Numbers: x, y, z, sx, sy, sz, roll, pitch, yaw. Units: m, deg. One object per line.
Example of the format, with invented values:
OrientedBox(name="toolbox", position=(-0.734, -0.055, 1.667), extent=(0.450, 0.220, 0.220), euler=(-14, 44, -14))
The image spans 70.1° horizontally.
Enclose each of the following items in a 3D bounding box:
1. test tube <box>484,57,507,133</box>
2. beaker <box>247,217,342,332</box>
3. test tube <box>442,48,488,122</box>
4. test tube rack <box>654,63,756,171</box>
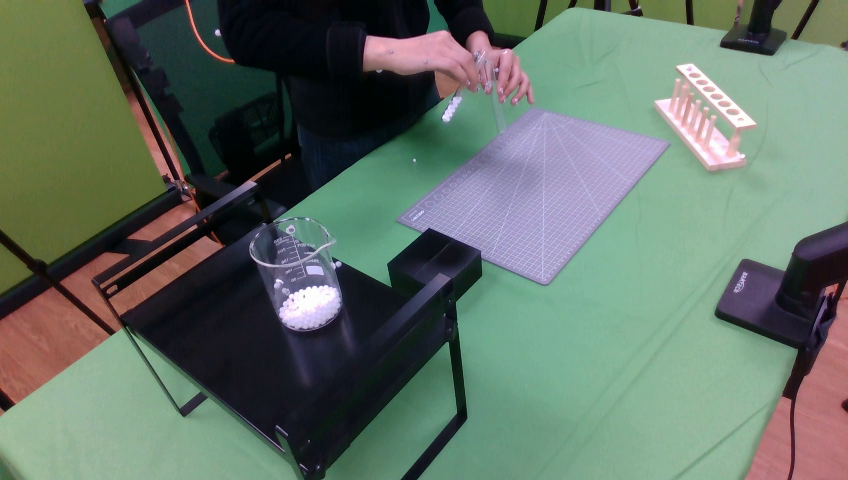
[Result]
OrientedBox(name="test tube", position=(0.124, -0.247, 1.046), extent=(0.017, 0.151, 0.017), euler=(-10, 45, 11))
OrientedBox(name="beaker", position=(-0.124, 0.037, 0.614), extent=(0.084, 0.101, 0.073), euler=(-7, 41, 0))
OrientedBox(name="test tube", position=(0.065, -0.246, 0.957), extent=(0.017, 0.017, 0.150), euler=(18, 67, 26))
OrientedBox(name="test tube rack", position=(0.510, -0.233, 1.120), extent=(0.067, 0.085, 0.241), euler=(-8, 41, -1))
